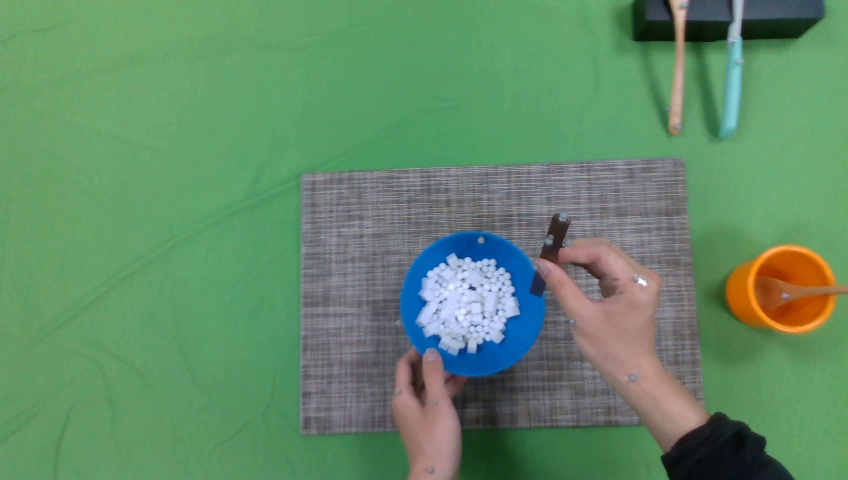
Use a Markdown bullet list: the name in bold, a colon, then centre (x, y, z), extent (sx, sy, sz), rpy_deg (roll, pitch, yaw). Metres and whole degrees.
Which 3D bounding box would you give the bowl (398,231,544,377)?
- **bowl**: centre (0.050, 0.070, 0.656), extent (0.151, 0.077, 0.151), rpy_deg (0, 82, 2)

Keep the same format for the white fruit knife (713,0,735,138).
- **white fruit knife**: centre (0.344, -0.222, 0.689), extent (0.016, 0.027, 0.208), rpy_deg (-1, 98, -1)

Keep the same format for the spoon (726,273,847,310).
- **spoon**: centre (0.412, 0.049, 0.618), extent (0.022, 0.193, 0.041), rpy_deg (8, 79, -42)

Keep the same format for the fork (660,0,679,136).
- **fork**: centre (0.282, -0.224, 0.692), extent (0.028, 0.018, 0.208), rpy_deg (-4, 102, 0)

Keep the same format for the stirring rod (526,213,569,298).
- **stirring rod**: centre (0.101, 0.019, 0.509), extent (0.014, 0.177, 0.006), rpy_deg (22, 70, 12)
